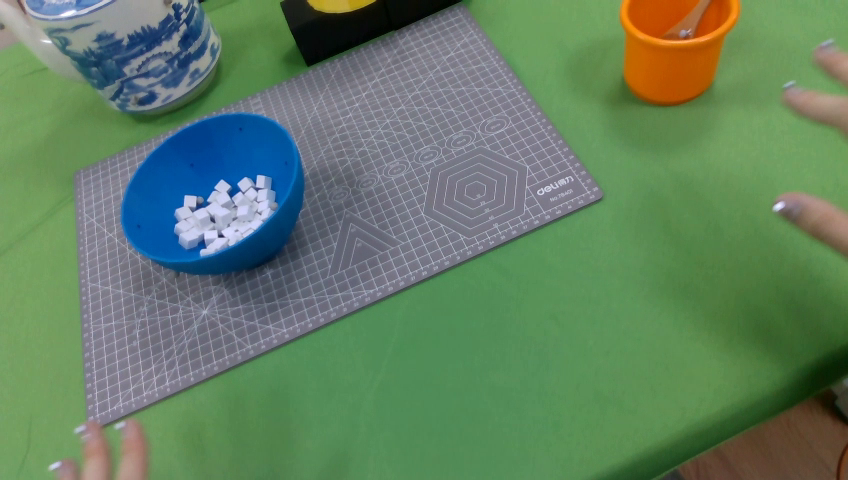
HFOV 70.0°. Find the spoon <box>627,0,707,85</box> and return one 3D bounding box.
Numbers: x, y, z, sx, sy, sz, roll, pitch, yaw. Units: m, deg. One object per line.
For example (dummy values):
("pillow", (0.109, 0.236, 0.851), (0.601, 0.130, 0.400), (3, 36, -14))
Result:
("spoon", (0.237, -0.207, 0.488), (0.022, 0.194, 0.041), (0, 47, -41))

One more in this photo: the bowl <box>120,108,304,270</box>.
("bowl", (-0.164, -0.030, 0.513), (0.151, 0.077, 0.150), (-6, 57, 10))

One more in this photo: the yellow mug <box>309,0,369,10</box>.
("yellow mug", (-0.071, -0.287, 0.603), (0.130, 0.064, 0.099), (17, 64, 22))

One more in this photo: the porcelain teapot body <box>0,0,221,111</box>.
("porcelain teapot body", (-0.342, -0.238, 0.602), (0.205, 0.227, 0.143), (-20, 57, 2))
